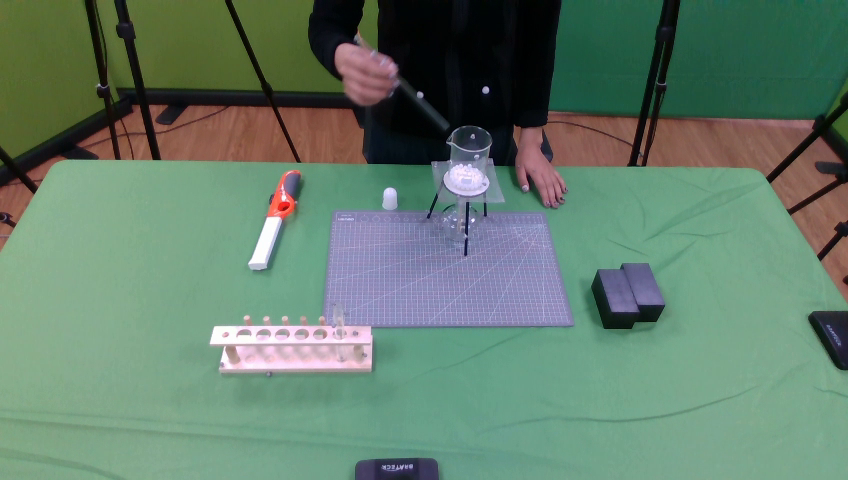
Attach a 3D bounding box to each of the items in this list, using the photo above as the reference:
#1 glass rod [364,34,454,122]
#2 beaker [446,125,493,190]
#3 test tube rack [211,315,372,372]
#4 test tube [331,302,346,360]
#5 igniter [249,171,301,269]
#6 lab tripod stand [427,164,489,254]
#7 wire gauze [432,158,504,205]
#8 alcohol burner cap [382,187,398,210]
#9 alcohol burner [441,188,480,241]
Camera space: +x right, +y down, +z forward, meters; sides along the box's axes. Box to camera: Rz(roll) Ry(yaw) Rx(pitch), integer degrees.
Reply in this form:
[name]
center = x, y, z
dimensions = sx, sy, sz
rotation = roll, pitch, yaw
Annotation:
[glass rod]
center = -0.020, -0.253, 0.958
dimensions = 0.201, 0.008, 0.008
rotation = 39, 39, -27
[beaker]
center = 0.079, -0.148, 1.106
dimensions = 0.084, 0.101, 0.073
rotation = -3, 47, -7
[test tube rack]
center = -0.208, 0.163, 0.982
dimensions = 0.242, 0.085, 0.066
rotation = 1, 46, -4
[test tube]
center = -0.132, 0.144, 0.938
dimensions = 0.017, 0.151, 0.017
rotation = 2, 49, -3
[igniter]
center = -0.297, -0.049, 1.220
dimensions = 0.057, 0.025, 0.275
rotation = -1, 45, 9
[lab tripod stand]
center = 0.078, -0.068, 1.188
dimensions = 0.148, 0.132, 0.147
rotation = 3, 47, -3
[wire gauze]
center = 0.081, -0.111, 1.138
dimensions = 0.125, 0.011, 0.120
rotation = 0, 48, -7
[alcohol burner cap]
center = -0.072, -0.090, 1.266
dimensions = 0.034, 0.048, 0.033
rotation = 2, 47, -2
[alcohol burner]
center = 0.073, -0.055, 1.189
dimensions = 0.078, 0.120, 0.077
rotation = 1, 48, -1
